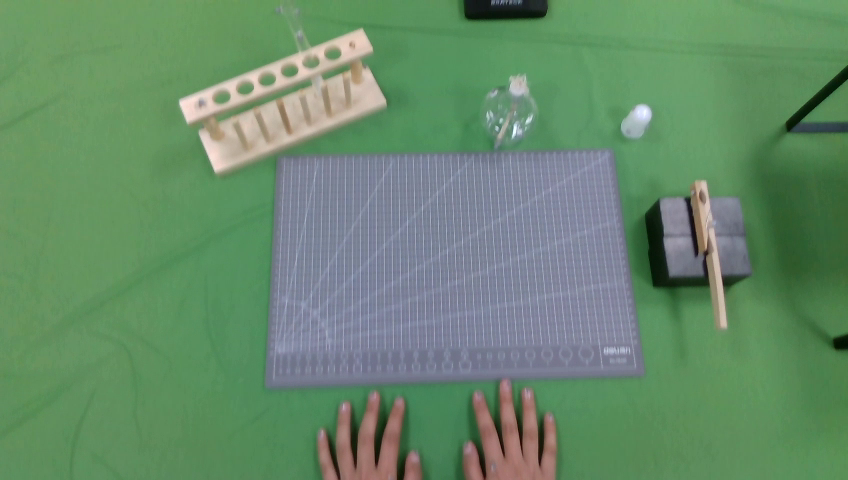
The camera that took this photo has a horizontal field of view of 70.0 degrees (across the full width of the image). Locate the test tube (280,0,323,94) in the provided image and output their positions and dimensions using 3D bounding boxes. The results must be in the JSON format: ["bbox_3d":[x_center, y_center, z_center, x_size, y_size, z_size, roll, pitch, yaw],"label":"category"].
[{"bbox_3d":[-0.145,-0.233,0.744,0.017,0.151,0.017,-3,62,6],"label":"test tube"}]

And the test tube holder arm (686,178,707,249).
[{"bbox_3d":[0.330,-0.033,0.731,0.010,0.015,0.087,-2,74,-3],"label":"test tube holder arm"}]

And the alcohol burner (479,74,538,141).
[{"bbox_3d":[0.110,-0.176,0.773,0.078,0.119,0.077,1,73,-1],"label":"alcohol burner"}]

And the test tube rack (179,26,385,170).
[{"bbox_3d":[-0.175,-0.181,0.780,0.242,0.085,0.066,-25,74,-9],"label":"test tube rack"}]

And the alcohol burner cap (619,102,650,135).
[{"bbox_3d":[0.284,-0.165,0.812,0.034,0.048,0.033,0,71,0],"label":"alcohol burner cap"}]

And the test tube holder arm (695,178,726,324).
[{"bbox_3d":[0.338,0.010,0.719,0.013,0.015,0.177,-3,74,-4],"label":"test tube holder arm"}]
